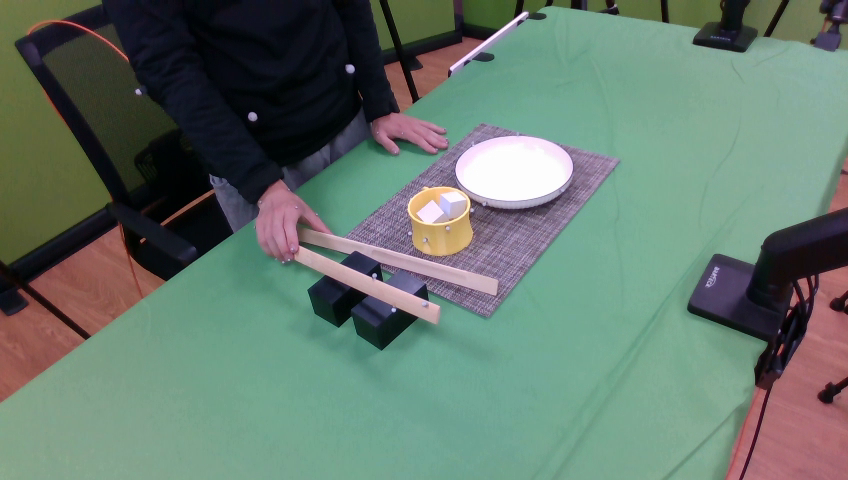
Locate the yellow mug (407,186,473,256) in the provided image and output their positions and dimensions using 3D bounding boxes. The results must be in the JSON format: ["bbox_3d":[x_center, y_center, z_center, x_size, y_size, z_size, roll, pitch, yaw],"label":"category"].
[{"bbox_3d":[0.021,-0.040,0.973,0.100,0.064,0.129,-19,41,-12],"label":"yellow mug"}]

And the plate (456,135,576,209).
[{"bbox_3d":[0.161,-0.116,1.064,0.207,0.039,0.206,-4,40,4],"label":"plate"}]

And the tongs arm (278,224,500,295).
[{"bbox_3d":[-0.066,0.026,0.931,0.385,0.028,0.028,14,24,24],"label":"tongs arm"}]

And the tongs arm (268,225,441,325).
[{"bbox_3d":[-0.113,0.041,0.866,0.381,0.026,0.051,19,22,36],"label":"tongs arm"}]
